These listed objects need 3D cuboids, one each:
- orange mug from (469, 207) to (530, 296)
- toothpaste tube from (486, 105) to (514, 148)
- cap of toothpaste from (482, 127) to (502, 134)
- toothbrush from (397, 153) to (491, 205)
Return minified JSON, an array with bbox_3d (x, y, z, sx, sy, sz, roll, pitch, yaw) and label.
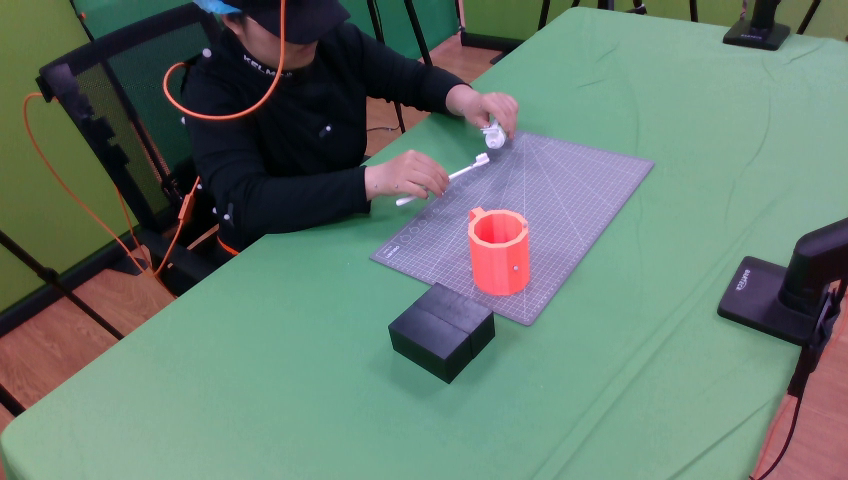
[{"bbox_3d":[0.104,0.008,0.894,0.084,0.101,0.125,-22,46,-14],"label":"orange mug"},{"bbox_3d":[0.143,-0.210,1.131,0.034,0.055,0.165,-18,19,25],"label":"toothpaste tube"},{"bbox_3d":[0.117,-0.189,1.046,0.037,0.011,0.037,1,11,0],"label":"cap of toothpaste"},{"bbox_3d":[0.034,-0.104,1.031,0.182,0.017,0.014,-27,38,-10],"label":"toothbrush"}]
